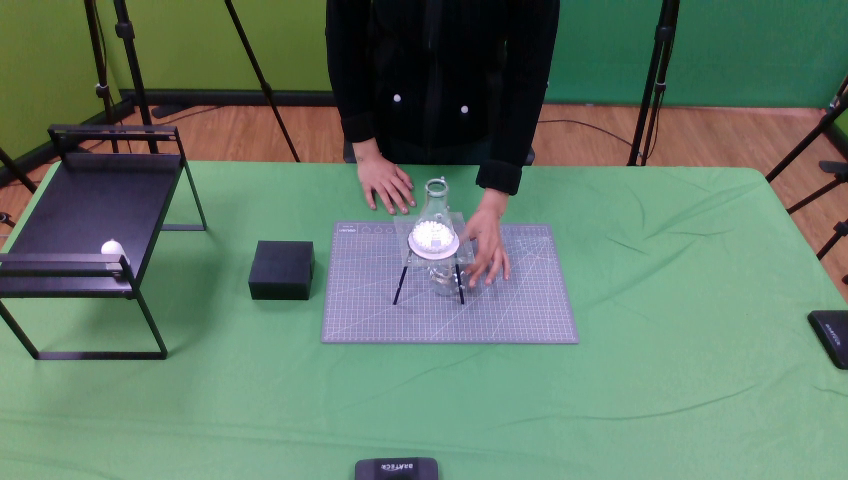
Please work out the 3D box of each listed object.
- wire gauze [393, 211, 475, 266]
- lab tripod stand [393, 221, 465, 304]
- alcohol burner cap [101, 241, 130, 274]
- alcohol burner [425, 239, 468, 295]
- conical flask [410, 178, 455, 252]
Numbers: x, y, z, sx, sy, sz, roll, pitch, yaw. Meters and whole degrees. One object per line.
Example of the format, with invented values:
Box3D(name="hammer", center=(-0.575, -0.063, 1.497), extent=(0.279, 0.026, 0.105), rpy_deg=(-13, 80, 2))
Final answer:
Box3D(name="wire gauze", center=(0.015, -0.002, 1.029), extent=(0.125, 0.011, 0.120), rpy_deg=(-6, 45, -6))
Box3D(name="lab tripod stand", center=(0.010, 0.045, 1.075), extent=(0.148, 0.132, 0.147), rpy_deg=(2, 48, -2))
Box3D(name="alcohol burner cap", center=(-0.449, 0.022, 0.878), extent=(0.034, 0.048, 0.033), rpy_deg=(3, 45, -2))
Box3D(name="alcohol burner", center=(0.041, 0.044, 1.092), extent=(0.078, 0.120, 0.077), rpy_deg=(1, 46, 0))
Box3D(name="conical flask", center=(0.017, -0.043, 0.987), extent=(0.075, 0.122, 0.075), rpy_deg=(2, 47, -2))
